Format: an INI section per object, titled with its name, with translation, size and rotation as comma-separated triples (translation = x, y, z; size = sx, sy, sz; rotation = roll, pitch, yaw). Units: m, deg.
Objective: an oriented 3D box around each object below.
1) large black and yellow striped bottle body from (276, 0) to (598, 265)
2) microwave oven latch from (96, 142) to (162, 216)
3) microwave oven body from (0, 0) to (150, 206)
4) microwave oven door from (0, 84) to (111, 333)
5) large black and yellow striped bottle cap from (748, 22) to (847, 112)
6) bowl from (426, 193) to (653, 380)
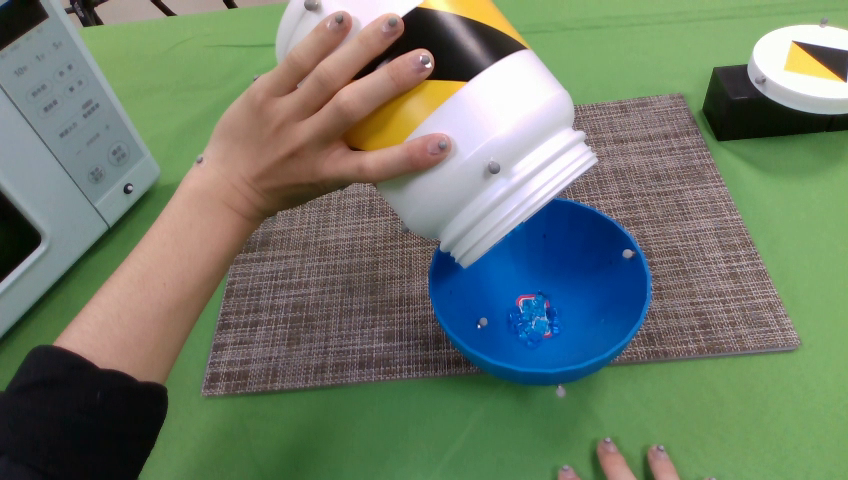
[large black and yellow striped bottle body]
translation = 0.010, -0.088, 0.387
size = 0.130, 0.131, 0.183
rotation = -37, 86, -21
[microwave oven latch]
translation = -0.291, -0.062, 0.589
size = 0.030, 0.030, 0.079
rotation = 19, 57, 21
[microwave oven body]
translation = -0.512, -0.036, 0.472
size = 0.324, 0.263, 0.439
rotation = 18, 56, 20
[microwave oven door]
translation = -0.401, 0.031, 0.394
size = 0.039, 0.246, 0.354
rotation = 17, 55, 21
[large black and yellow striped bottle cap]
translation = 0.358, -0.159, 0.548
size = 0.115, 0.019, 0.114
rotation = -5, 50, 6
[bowl]
translation = 0.080, 0.044, 0.441
size = 0.151, 0.077, 0.150
rotation = -4, 50, 5
